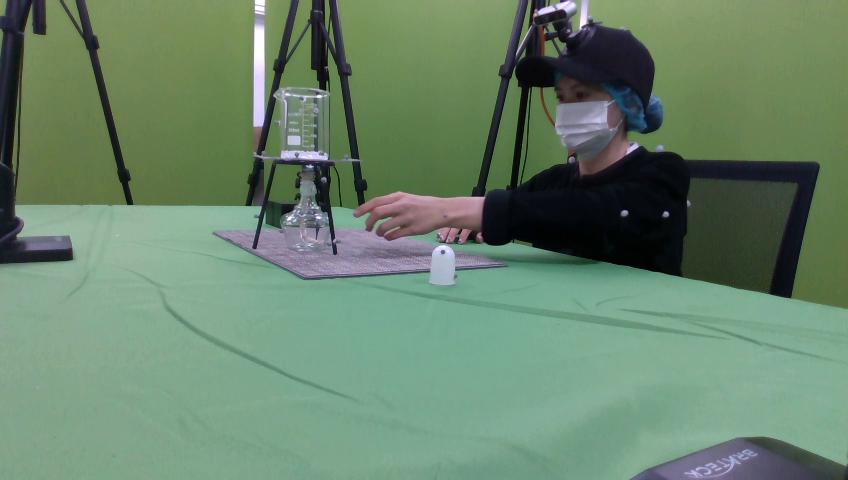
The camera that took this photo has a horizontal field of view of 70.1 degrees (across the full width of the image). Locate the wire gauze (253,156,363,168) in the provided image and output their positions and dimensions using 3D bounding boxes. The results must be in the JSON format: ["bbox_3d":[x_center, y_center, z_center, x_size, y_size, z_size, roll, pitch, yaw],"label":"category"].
[{"bbox_3d":[-0.172,-0.117,0.891,0.122,0.011,0.124,0,3,-38],"label":"wire gauze"}]

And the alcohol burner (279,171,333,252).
[{"bbox_3d":[-0.174,-0.043,0.896,0.078,0.119,0.078,3,5,0],"label":"alcohol burner"}]

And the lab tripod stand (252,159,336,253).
[{"bbox_3d":[-0.180,-0.053,0.900,0.148,0.131,0.148,1,6,0],"label":"lab tripod stand"}]

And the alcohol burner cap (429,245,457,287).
[{"bbox_3d":[0.024,0.030,0.705,0.034,0.048,0.034,2,7,0],"label":"alcohol burner cap"}]

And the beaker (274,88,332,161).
[{"bbox_3d":[-0.177,-0.165,0.879,0.084,0.100,0.074,2,5,1],"label":"beaker"}]
